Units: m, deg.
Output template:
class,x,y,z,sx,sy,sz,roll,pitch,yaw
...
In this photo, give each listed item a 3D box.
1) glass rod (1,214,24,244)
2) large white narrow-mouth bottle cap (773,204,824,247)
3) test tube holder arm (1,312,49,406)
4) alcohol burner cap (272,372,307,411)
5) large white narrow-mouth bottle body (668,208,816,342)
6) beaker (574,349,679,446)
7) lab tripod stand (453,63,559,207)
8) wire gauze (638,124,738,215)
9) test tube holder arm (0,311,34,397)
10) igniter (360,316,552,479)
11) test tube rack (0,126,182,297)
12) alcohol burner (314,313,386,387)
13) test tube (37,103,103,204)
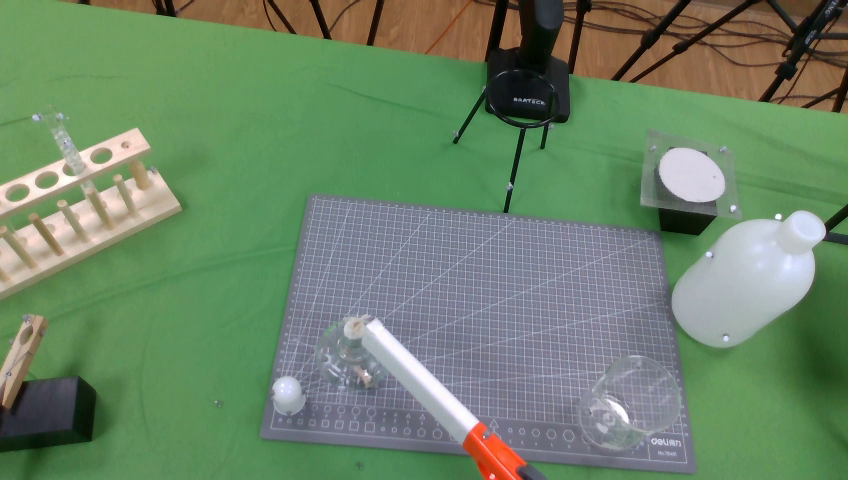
class,x,y,z,sx,sy,sz,roll,pitch,yaw
glass rod,-0.433,-0.058,0.593,0.008,0.201,0.008,5,51,-6
large white narrow-mouth bottle cap,0.355,-0.014,0.576,0.038,0.024,0.037,3,59,-4
test tube holder arm,-0.374,0.109,0.564,0.010,0.015,0.087,9,59,-1
alcohol burner cap,-0.137,0.150,0.607,0.034,0.048,0.033,2,61,-4
large white narrow-mouth bottle body,0.347,0.031,0.649,0.102,0.196,0.101,3,59,-4
beaker,0.195,0.162,0.607,0.084,0.101,0.073,3,59,-4
lab tripod stand,0.108,-0.136,0.753,0.148,0.132,0.147,4,61,-6
wire gauze,0.333,-0.089,0.768,0.121,0.011,0.124,13,59,1
test tube holder arm,-0.385,0.146,0.540,0.013,0.015,0.177,8,59,-2
igniter,0.045,0.163,0.495,0.274,0.057,0.025,41,50,21
test tube rack,-0.401,-0.025,0.655,0.242,0.086,0.066,-31,68,-22
alcohol burner,-0.070,0.102,0.602,0.078,0.120,0.077,4,59,-7
test tube,-0.367,-0.085,0.635,0.017,0.151,0.017,4,57,-6
